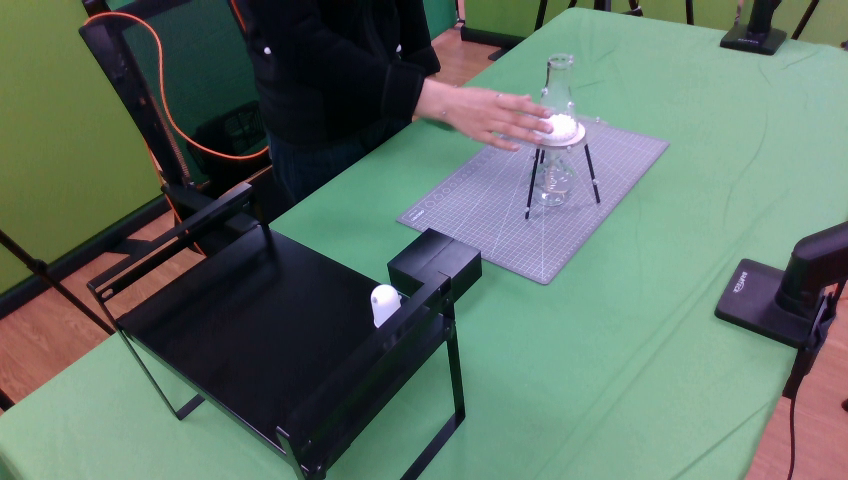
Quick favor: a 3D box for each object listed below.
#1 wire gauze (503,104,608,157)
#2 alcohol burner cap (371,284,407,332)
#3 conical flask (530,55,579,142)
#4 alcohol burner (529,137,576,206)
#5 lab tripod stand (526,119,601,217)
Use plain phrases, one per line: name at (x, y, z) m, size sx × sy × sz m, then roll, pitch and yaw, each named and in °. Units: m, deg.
wire gauze at (0.208, -0.172, 0.954) m, size 0.120 × 0.011 × 0.125 m, roll 22°, pitch 50°, yaw 32°
alcohol burner cap at (-0.037, 0.066, 0.608) m, size 0.034 × 0.048 × 0.033 m, roll -5°, pitch 40°, yaw 5°
conical flask at (0.200, -0.216, 0.914) m, size 0.075 × 0.122 × 0.075 m, roll -3°, pitch 41°, yaw 3°
alcohol burner at (0.214, -0.117, 1.006) m, size 0.078 × 0.119 × 0.077 m, roll -4°, pitch 38°, yaw 4°
lab tripod stand at (0.221, -0.122, 0.995) m, size 0.148 × 0.132 × 0.147 m, roll -3°, pitch 39°, yaw 3°
